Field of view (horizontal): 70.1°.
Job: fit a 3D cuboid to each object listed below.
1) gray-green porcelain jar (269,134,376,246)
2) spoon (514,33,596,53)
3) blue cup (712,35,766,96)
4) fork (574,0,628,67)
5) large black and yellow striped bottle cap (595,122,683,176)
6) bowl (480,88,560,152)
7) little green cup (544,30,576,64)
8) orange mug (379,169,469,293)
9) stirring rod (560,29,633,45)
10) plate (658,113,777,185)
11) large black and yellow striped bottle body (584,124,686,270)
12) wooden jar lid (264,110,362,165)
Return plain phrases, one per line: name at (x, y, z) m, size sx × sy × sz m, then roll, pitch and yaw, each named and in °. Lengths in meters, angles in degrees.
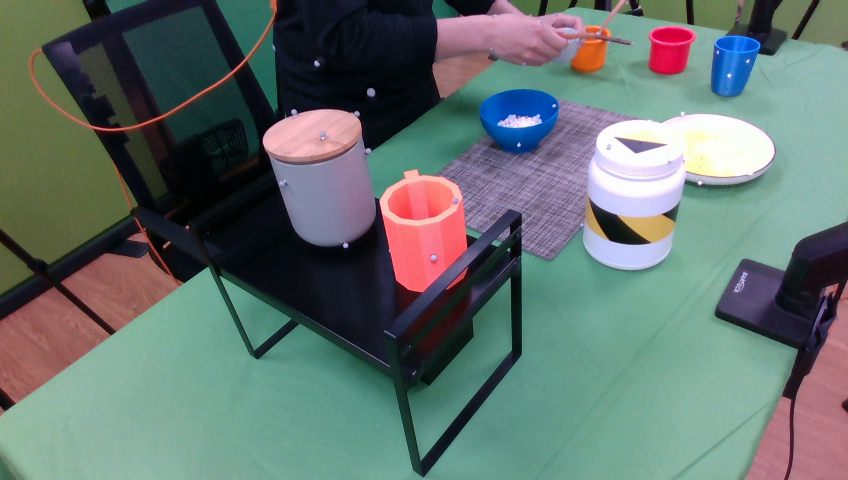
gray-green porcelain jar at (-0.115, -0.064, 0.715) m, size 0.106 × 0.127 × 0.105 m, roll -4°, pitch 40°, yaw 4°
spoon at (0.218, -0.336, 1.023) m, size 0.042 × 0.021 × 0.192 m, roll -11°, pitch 12°, yaw -27°
blue cup at (0.627, -0.350, 1.227) m, size 0.092 × 0.100 × 0.092 m, roll -4°, pitch 39°, yaw 4°
fork at (0.413, -0.481, 1.377) m, size 0.207 × 0.019 × 0.028 m, roll -56°, pitch 43°, yaw 12°
large black and yellow striped bottle cap at (0.293, -0.126, 0.826) m, size 0.115 × 0.019 × 0.114 m, roll -3°, pitch 40°, yaw 3°
bowl at (0.185, -0.222, 1.160) m, size 0.151 × 0.077 × 0.150 m, roll -4°, pitch 40°, yaw 4°
little green cup at (0.256, -0.361, 1.133) m, size 0.061 × 0.039 × 0.061 m, roll -8°, pitch 45°, yaw 9°
orange mug at (-0.002, -0.019, 0.665) m, size 0.083 × 0.101 × 0.125 m, roll -12°, pitch 45°, yaw -4°
stirring rod at (0.381, -0.452, 1.345) m, size 0.174 × 0.006 × 0.014 m, roll 25°, pitch 49°, yaw 33°
plate at (0.506, -0.158, 1.073) m, size 0.209 × 0.038 × 0.208 m, roll -4°, pitch 40°, yaw 4°
large black and yellow striped bottle body at (0.304, -0.063, 0.880) m, size 0.131 × 0.185 × 0.130 m, roll -5°, pitch 41°, yaw 5°
wooden jar lid at (-0.122, -0.112, 0.673) m, size 0.108 × 0.021 × 0.108 m, roll -4°, pitch 37°, yaw 4°
